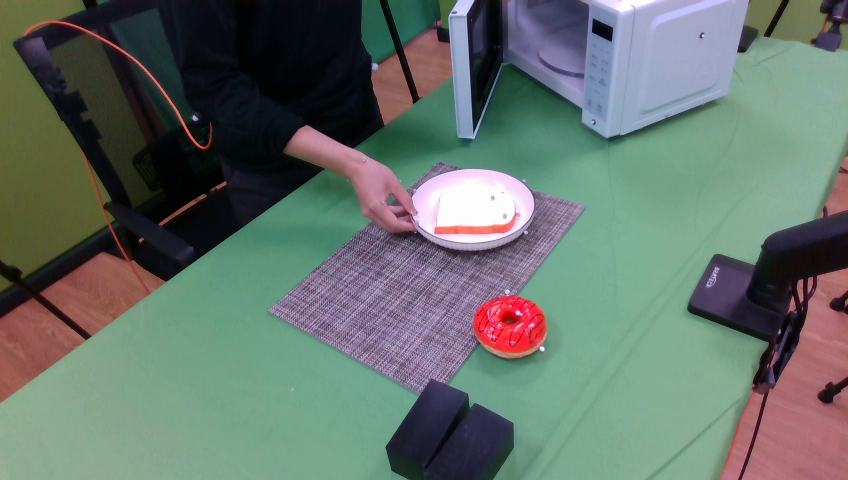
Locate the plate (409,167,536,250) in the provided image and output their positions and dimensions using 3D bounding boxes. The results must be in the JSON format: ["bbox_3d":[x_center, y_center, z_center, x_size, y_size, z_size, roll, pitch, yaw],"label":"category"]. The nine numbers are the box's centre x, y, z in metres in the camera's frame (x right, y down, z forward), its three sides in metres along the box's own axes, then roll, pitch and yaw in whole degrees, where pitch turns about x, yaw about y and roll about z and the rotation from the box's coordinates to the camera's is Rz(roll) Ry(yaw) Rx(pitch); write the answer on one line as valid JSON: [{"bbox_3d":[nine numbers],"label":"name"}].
[{"bbox_3d":[0.079,-0.049,0.994,0.208,0.039,0.206,-2,40,2],"label":"plate"}]

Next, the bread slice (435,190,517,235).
[{"bbox_3d":[0.087,-0.047,0.994,0.131,0.019,0.104,0,41,6],"label":"bread slice"}]

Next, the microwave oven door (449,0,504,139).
[{"bbox_3d":[0.113,-0.404,1.229,0.039,0.245,0.355,6,42,15],"label":"microwave oven door"}]

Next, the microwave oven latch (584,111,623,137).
[{"bbox_3d":[0.337,-0.222,1.142,0.030,0.029,0.078,-21,42,-14],"label":"microwave oven latch"}]

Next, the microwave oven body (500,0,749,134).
[{"bbox_3d":[0.382,-0.444,1.246,0.327,0.261,0.437,-22,42,-16],"label":"microwave oven body"}]

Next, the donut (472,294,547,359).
[{"bbox_3d":[0.114,0.114,0.803,0.099,0.048,0.098,0,40,1],"label":"donut"}]
